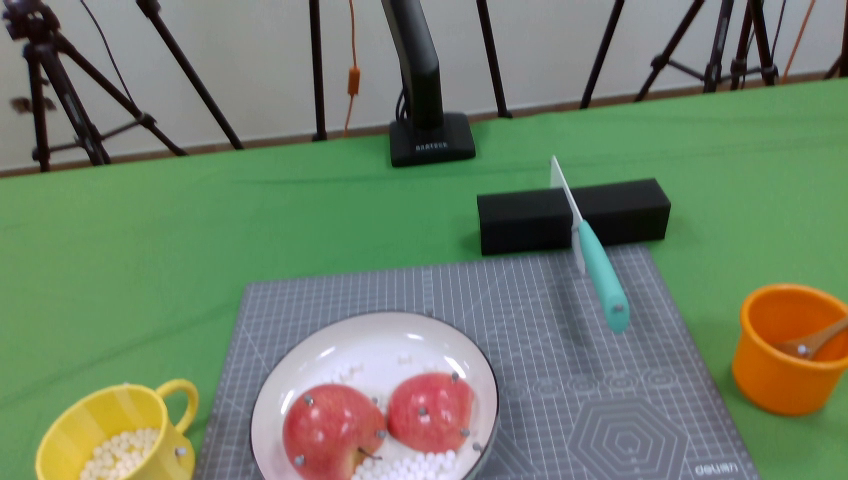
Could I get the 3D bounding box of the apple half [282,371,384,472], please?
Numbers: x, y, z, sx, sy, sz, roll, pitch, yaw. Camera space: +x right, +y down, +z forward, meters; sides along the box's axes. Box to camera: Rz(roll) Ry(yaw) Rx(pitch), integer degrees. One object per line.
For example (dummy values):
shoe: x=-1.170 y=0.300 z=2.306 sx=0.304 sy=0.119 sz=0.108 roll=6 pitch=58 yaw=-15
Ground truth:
apple half: x=-0.078 y=0.139 z=0.495 sx=0.074 sy=0.054 sz=0.081 roll=28 pitch=52 yaw=37

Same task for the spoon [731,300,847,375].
spoon: x=0.337 y=0.055 z=0.480 sx=0.022 sy=0.194 sz=0.041 roll=31 pitch=36 yaw=-25

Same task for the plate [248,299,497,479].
plate: x=-0.042 y=0.137 z=0.517 sx=0.209 sy=0.038 sz=0.207 roll=-4 pitch=41 yaw=3

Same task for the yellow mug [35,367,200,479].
yellow mug: x=-0.239 y=0.158 z=0.503 sx=0.099 sy=0.064 sz=0.130 roll=19 pitch=46 yaw=27

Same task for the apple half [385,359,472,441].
apple half: x=0.002 y=0.127 z=0.512 sx=0.081 sy=0.033 sz=0.080 roll=-3 pitch=43 yaw=4

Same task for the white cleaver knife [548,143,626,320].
white cleaver knife: x=0.165 y=-0.016 z=0.645 sx=0.021 sy=0.066 sz=0.283 roll=-9 pitch=36 yaw=5
